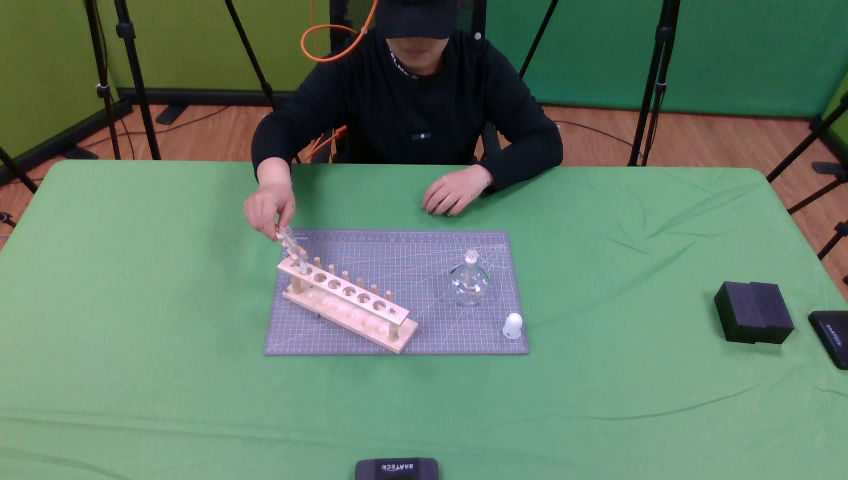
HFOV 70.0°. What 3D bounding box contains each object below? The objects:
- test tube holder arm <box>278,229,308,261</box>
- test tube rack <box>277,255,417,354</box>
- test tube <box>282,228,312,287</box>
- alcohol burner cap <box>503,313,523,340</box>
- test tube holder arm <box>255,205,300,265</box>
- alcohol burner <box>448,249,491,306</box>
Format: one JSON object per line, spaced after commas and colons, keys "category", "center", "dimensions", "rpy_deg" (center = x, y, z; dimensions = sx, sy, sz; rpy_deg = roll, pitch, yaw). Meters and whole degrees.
{"category": "test tube holder arm", "center": [-0.220, 0.007, 1.002], "dimensions": [0.010, 0.015, 0.087], "rpy_deg": [-36, 49, -25]}
{"category": "test tube rack", "center": [-0.131, 0.099, 1.045], "dimensions": [0.241, 0.085, 0.066], "rpy_deg": [23, 49, 17]}
{"category": "test tube", "center": [-0.208, 0.032, 1.000], "dimensions": [0.017, 0.151, 0.017], "rpy_deg": [-3, 51, 4]}
{"category": "alcohol burner cap", "center": [0.156, 0.148, 1.051], "dimensions": [0.034, 0.048, 0.033], "rpy_deg": [1, 45, -1]}
{"category": "test tube holder arm", "center": [-0.251, -0.012, 1.028], "dimensions": [0.013, 0.015, 0.177], "rpy_deg": [-29, 46, -21]}
{"category": "alcohol burner", "center": [0.081, 0.062, 1.078], "dimensions": [0.078, 0.120, 0.077], "rpy_deg": [1, 45, -1]}
